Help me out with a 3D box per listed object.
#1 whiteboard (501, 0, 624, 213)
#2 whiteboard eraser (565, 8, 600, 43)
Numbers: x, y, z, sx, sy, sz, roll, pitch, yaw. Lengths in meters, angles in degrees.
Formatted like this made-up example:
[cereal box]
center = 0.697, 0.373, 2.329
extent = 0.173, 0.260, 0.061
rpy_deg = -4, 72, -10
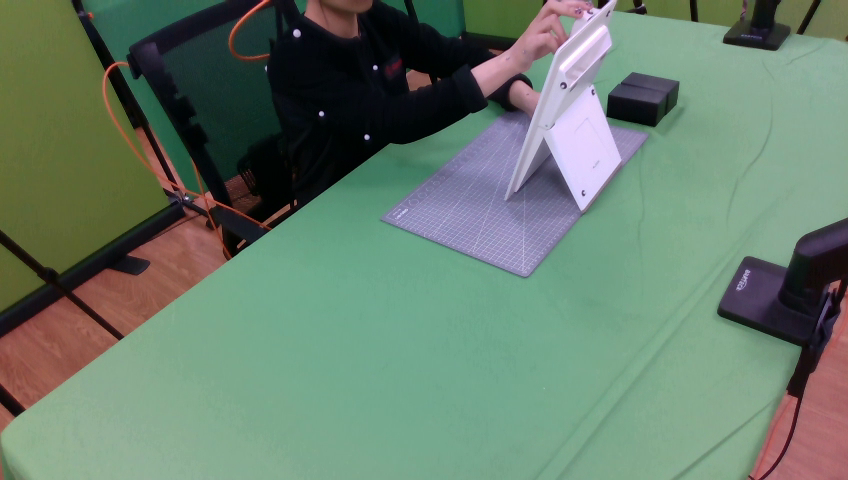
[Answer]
[whiteboard]
center = 0.271, -0.189, 0.977
extent = 0.143, 0.306, 0.218
rpy_deg = 34, 53, 16
[whiteboard eraser]
center = 0.256, -0.320, 0.999
extent = 0.041, 0.113, 0.056
rpy_deg = 32, 46, 15
